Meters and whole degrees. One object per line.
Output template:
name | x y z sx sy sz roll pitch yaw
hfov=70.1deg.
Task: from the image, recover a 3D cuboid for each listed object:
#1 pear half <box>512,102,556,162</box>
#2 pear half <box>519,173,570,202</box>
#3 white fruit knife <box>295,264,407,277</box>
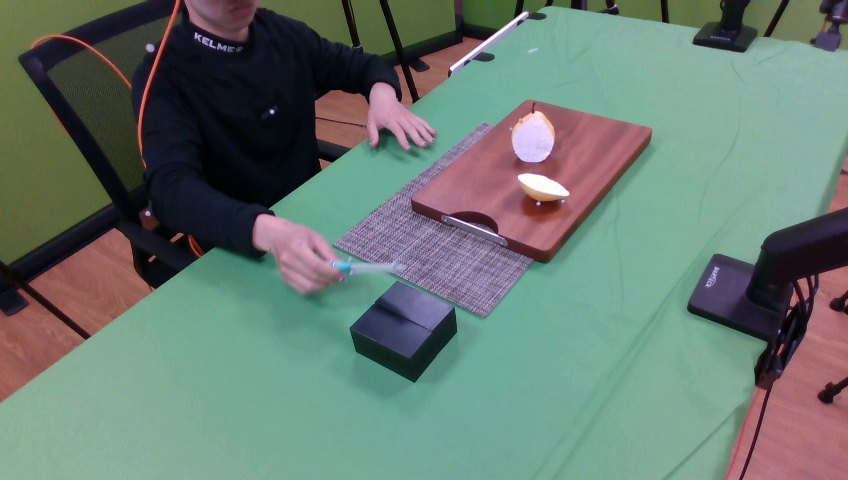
pear half | 0.193 -0.197 1.060 0.076 0.110 0.056 3 41 6
pear half | 0.192 -0.080 0.981 0.087 0.031 0.071 33 38 24
white fruit knife | -0.107 0.043 0.843 0.206 0.028 0.016 -3 58 34
